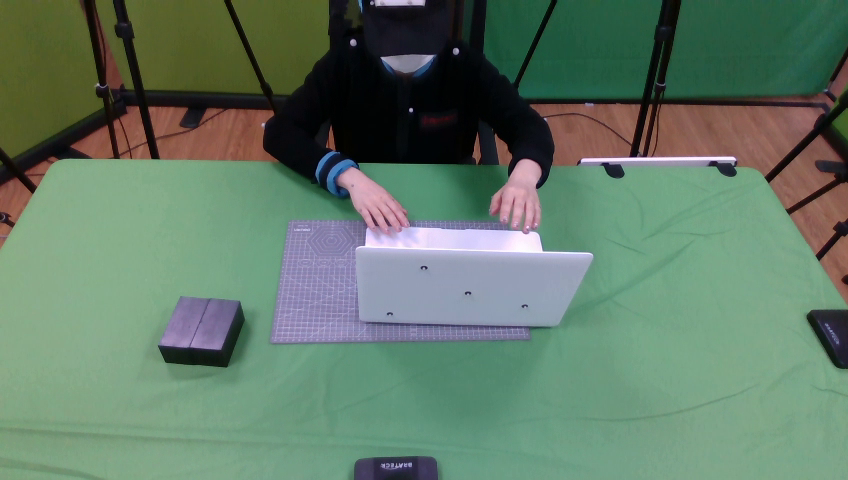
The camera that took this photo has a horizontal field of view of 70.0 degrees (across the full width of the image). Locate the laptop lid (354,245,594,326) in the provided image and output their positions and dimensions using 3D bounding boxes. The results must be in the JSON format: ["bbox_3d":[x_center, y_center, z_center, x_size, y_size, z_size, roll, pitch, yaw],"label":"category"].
[{"bbox_3d":[0.069,0.080,0.964,0.357,0.243,0.013,2,55,-4],"label":"laptop lid"}]

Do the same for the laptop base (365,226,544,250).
[{"bbox_3d":[0.061,0.063,1.144,0.354,0.023,0.234,2,43,-3],"label":"laptop base"}]
